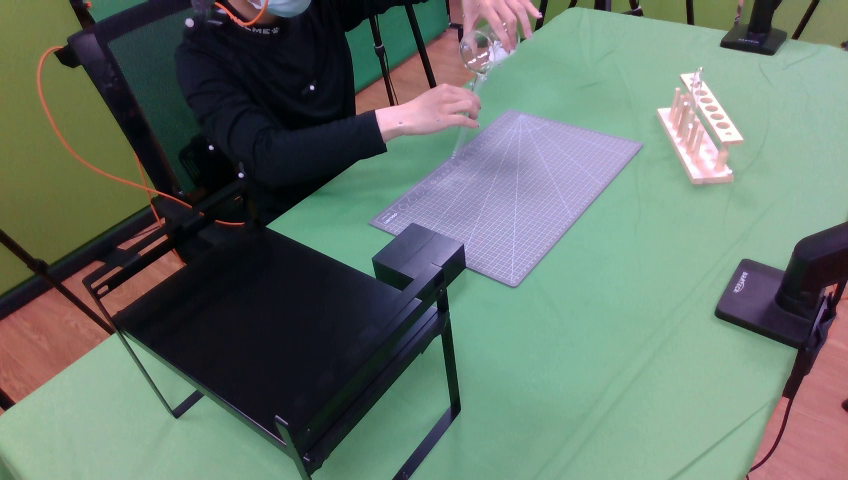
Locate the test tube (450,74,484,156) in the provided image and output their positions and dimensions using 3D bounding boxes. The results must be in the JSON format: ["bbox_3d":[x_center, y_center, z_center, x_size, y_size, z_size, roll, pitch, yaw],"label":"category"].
[{"bbox_3d":[0.077,-0.224,1.086,0.017,0.150,0.017,18,10,-3],"label":"test tube"}]

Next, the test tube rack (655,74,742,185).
[{"bbox_3d":[0.488,-0.205,1.093,0.067,0.085,0.241,-3,41,5],"label":"test tube rack"}]

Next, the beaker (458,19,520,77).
[{"bbox_3d":[0.121,-0.348,1.088,0.073,0.084,0.100,-1,29,43],"label":"beaker"}]

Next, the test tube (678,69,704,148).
[{"bbox_3d":[0.465,-0.228,1.054,0.017,0.151,0.017,-4,41,4],"label":"test tube"}]
